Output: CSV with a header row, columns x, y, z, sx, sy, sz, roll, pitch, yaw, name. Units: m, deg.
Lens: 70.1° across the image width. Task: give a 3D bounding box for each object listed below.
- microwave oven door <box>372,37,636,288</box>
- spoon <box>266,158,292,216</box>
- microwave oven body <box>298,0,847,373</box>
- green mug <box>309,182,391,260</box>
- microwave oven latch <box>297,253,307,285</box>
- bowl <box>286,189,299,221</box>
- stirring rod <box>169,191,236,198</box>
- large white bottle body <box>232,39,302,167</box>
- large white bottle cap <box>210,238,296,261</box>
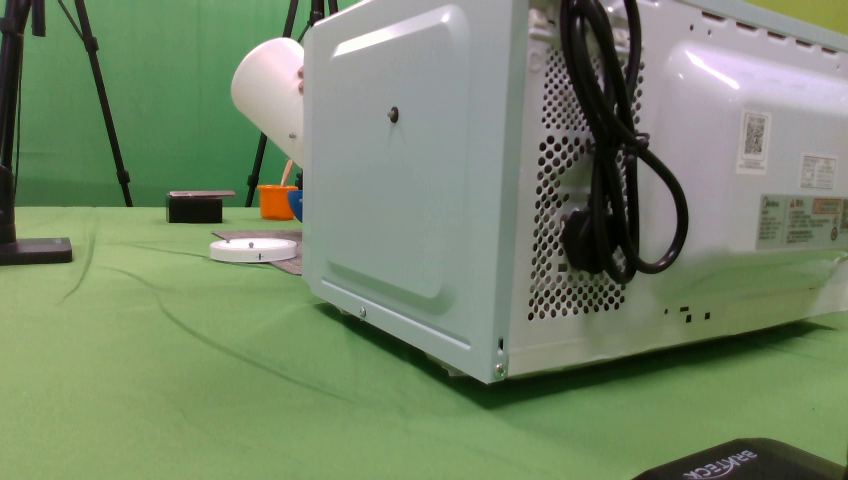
x,y,z,sx,sy,sz,roll,pitch,yaw,name
0.110,-0.080,0.687,0.358,0.243,0.039,-2,9,-33,microwave oven door
-0.333,-0.127,1.423,0.041,0.193,0.022,-1,-37,8,spoon
0.151,-0.055,0.543,0.444,0.260,0.324,-1,8,-33,microwave oven body
-0.102,-0.029,0.864,0.126,0.105,0.092,-4,9,-39,green mug
-0.082,0.027,0.582,0.079,0.029,0.030,-1,7,-32,microwave oven latch
-0.179,-0.051,1.115,0.151,0.077,0.151,3,8,0,bowl
-0.465,-0.098,1.283,0.014,0.006,0.177,42,21,17,stirring rod
-0.166,-0.181,0.862,0.184,0.130,0.131,42,19,13,large white bottle body
-0.236,0.012,0.839,0.115,0.018,0.115,2,7,0,large white bottle cap
